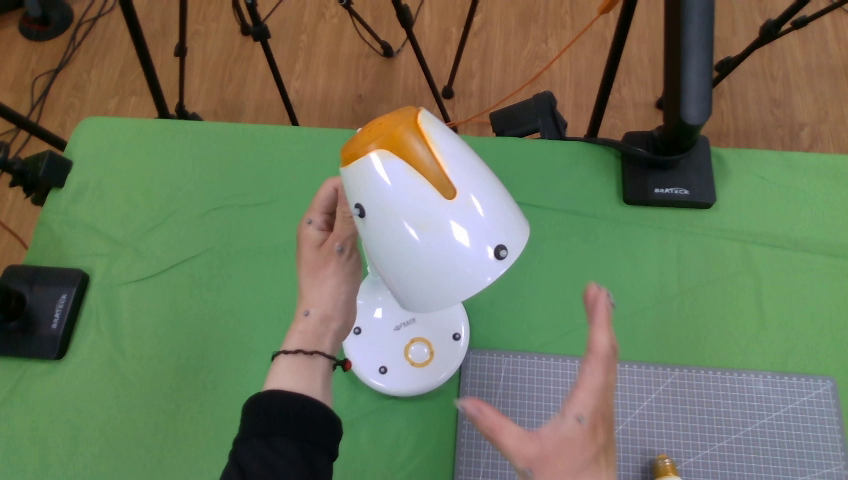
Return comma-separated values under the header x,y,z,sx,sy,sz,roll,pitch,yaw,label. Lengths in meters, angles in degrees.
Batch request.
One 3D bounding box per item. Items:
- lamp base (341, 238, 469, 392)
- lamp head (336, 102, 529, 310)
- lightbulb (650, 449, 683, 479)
x,y,z,sx,sy,sz,roll,pitch,yaw,label
-0.035,0.069,0.691,0.160,0.181,0.177,-35,67,-12,lamp base
-0.006,-0.031,0.417,0.112,0.111,0.124,-41,109,-14,lamp head
0.270,0.281,0.660,0.059,0.060,0.106,-2,51,2,lightbulb
